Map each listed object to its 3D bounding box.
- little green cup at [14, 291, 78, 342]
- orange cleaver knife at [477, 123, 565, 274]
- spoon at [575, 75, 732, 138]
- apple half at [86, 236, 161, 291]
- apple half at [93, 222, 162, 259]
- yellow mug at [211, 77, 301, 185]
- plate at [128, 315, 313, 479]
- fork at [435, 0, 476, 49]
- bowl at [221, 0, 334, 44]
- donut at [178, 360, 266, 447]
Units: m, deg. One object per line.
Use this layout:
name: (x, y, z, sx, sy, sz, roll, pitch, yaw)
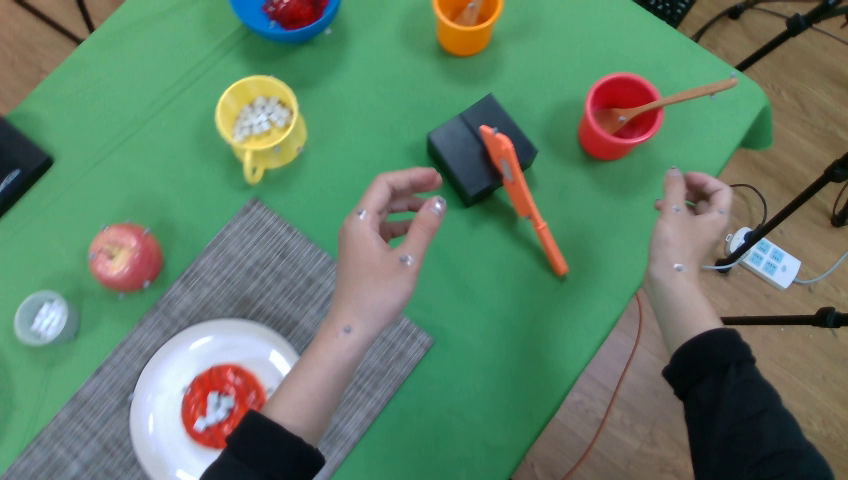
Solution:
little green cup: (-0.452, 0.095, 0.730, 0.061, 0.039, 0.061, 0, 76, -1)
orange cleaver knife: (0.119, -0.050, 0.752, 0.012, 0.076, 0.213, -32, 111, -7)
spoon: (0.280, -0.168, 0.756, 0.193, 0.022, 0.041, -13, 70, 41)
apple half: (-0.365, 0.034, 0.729, 0.081, 0.075, 0.053, 18, 81, 0)
apple half: (-0.354, -0.002, 0.737, 0.081, 0.081, 0.032, 17, 80, 4)
yellow mug: (-0.216, -0.134, 0.777, 0.100, 0.064, 0.130, 6, 77, 0)
plate: (-0.233, 0.192, 0.707, 0.209, 0.038, 0.208, 0, 76, -1)
fork: (0.080, -0.338, 0.789, 0.028, 0.018, 0.208, 48, 123, 12)
bowl: (-0.189, -0.321, 0.816, 0.151, 0.077, 0.150, 0, 77, -1)
donut: (-0.231, 0.188, 0.697, 0.099, 0.048, 0.098, 0, 79, -2)
